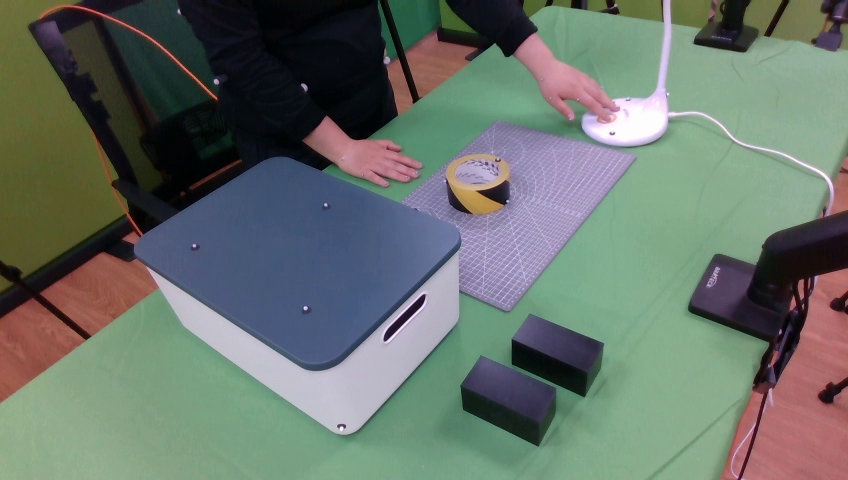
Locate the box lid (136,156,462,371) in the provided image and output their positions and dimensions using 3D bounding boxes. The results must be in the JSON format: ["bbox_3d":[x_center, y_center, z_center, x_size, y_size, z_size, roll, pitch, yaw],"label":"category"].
[{"bbox_3d":[-0.162,0.005,0.765,0.368,0.015,0.264,24,49,31],"label":"box lid"}]

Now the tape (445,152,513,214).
[{"bbox_3d":[0.095,-0.099,1.042,0.117,0.053,0.116,-4,41,4],"label":"tape"}]

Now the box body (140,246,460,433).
[{"bbox_3d":[-0.156,0.059,0.815,0.361,0.161,0.255,24,49,31],"label":"box body"}]

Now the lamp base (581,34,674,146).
[{"bbox_3d":[0.393,-0.291,1.129,0.180,0.181,0.159,-11,41,-8],"label":"lamp base"}]
